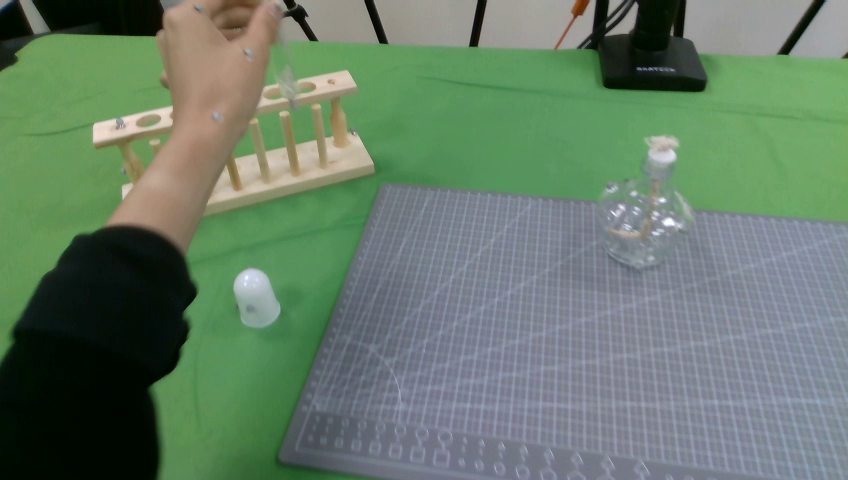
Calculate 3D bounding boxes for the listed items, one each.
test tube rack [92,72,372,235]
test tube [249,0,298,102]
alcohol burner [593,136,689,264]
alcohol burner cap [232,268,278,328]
[{"bbox_3d":[-0.180,-0.088,0.593,0.243,0.086,0.066,-16,45,-14],"label":"test tube rack"},{"bbox_3d":[-0.113,-0.166,0.423,0.017,0.152,0.017,-5,41,5],"label":"test tube"},{"bbox_3d":[0.182,-0.036,0.500,0.078,0.120,0.077,0,45,1],"label":"alcohol burner"},{"bbox_3d":[-0.138,0.044,0.487,0.034,0.048,0.033,-1,44,1],"label":"alcohol burner cap"}]
